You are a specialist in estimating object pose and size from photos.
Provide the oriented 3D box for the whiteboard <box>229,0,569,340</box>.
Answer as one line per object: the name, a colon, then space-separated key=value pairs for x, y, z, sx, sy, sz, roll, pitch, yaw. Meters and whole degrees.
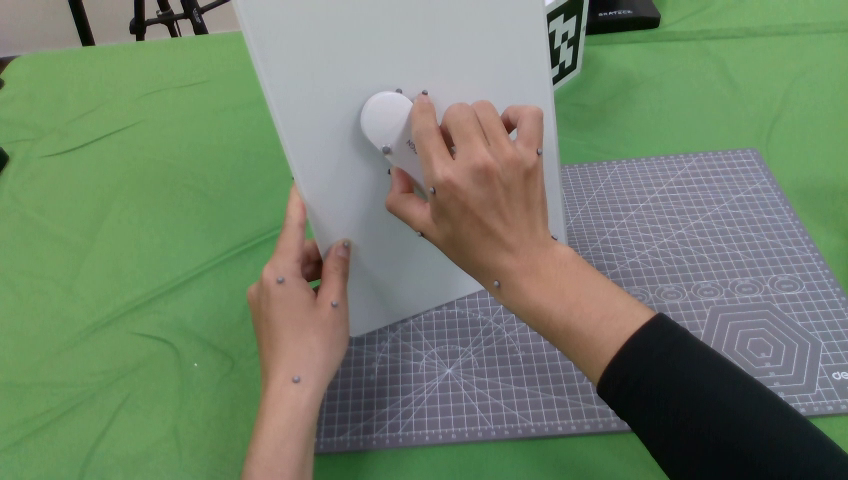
whiteboard: x=-0.017 y=-0.108 z=0.521 sx=0.217 sy=0.308 sz=0.142 roll=-20 pitch=30 yaw=-10

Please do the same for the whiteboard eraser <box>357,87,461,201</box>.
whiteboard eraser: x=-0.010 y=-0.070 z=0.453 sx=0.041 sy=0.102 sz=0.018 roll=-45 pitch=31 yaw=-3
